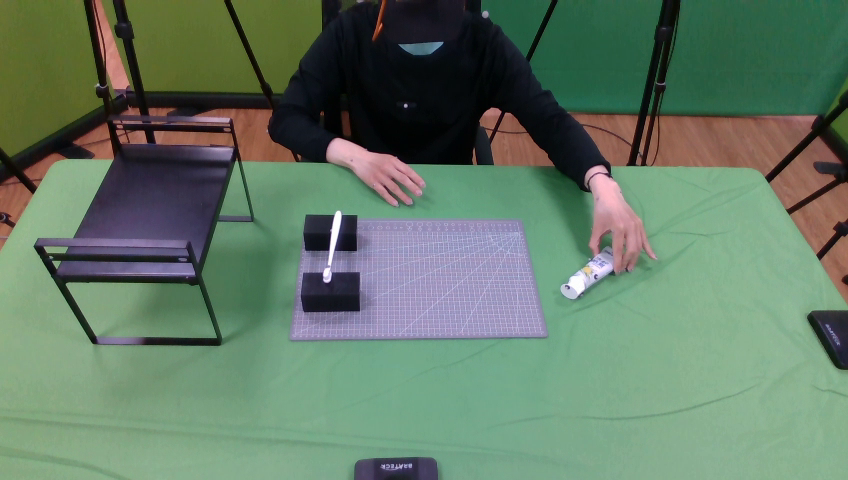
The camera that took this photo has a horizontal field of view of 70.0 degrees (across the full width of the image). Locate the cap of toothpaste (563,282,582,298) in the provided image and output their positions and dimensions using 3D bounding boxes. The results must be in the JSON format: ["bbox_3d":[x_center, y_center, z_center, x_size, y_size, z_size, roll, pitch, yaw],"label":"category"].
[{"bbox_3d":[0.273,0.091,1.113,0.037,0.037,0.011,29,52,21],"label":"cap of toothpaste"}]

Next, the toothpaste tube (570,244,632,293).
[{"bbox_3d":[0.332,0.055,1.157,0.165,0.035,0.055,-32,54,-33],"label":"toothpaste tube"}]

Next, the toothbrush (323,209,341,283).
[{"bbox_3d":[-0.167,0.005,1.106,0.014,0.017,0.180,-6,45,7],"label":"toothbrush"}]
